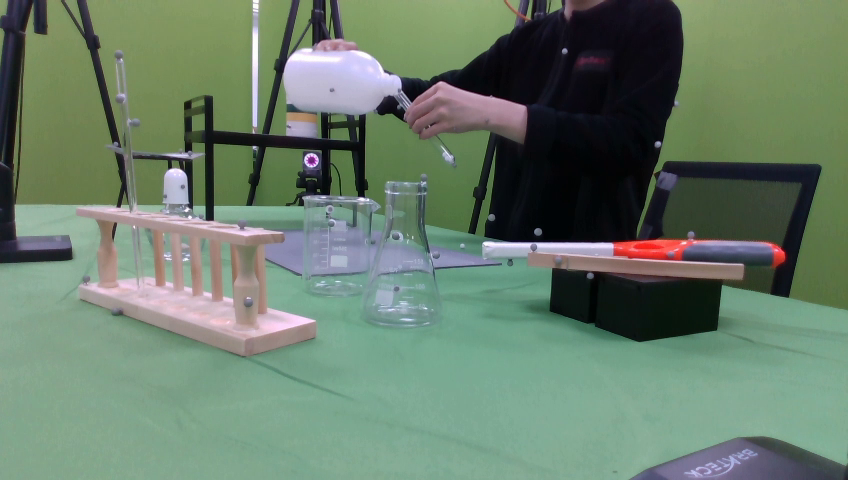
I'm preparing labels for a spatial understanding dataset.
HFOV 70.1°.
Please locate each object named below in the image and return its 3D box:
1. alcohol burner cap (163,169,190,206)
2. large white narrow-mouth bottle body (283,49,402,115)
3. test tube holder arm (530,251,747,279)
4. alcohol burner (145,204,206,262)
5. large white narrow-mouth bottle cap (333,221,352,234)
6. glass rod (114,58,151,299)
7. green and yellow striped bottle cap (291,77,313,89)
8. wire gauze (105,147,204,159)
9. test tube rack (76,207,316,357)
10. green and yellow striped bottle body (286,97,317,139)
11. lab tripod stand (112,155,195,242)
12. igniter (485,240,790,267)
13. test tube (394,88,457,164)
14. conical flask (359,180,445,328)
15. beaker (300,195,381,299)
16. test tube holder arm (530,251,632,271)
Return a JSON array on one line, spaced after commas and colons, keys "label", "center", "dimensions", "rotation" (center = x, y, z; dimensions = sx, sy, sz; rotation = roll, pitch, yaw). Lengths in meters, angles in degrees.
[{"label": "alcohol burner cap", "center": [-0.320, -0.068, 0.782], "dimensions": [0.034, 0.048, 0.034], "rotation": [1, 7, 0]}, {"label": "large white narrow-mouth bottle body", "center": [-0.126, -0.257, 0.990], "dimensions": [0.194, 0.101, 0.102], "rotation": [11, 10, 25]}, {"label": "test tube holder arm", "center": [0.182, 0.022, 0.523], "dimensions": [0.178, 0.015, 0.013], "rotation": [3, 7, 12]}, {"label": "alcohol burner", "center": [-0.322, -0.032, 0.788], "dimensions": [0.078, 0.119, 0.078], "rotation": [0, 7, 0]}, {"label": "large white narrow-mouth bottle cap", "center": [-0.152, -0.024, 1.134], "dimensions": [0.038, 0.024, 0.037], "rotation": [4, 7, 0]}, {"label": "glass rod", "center": [-0.236, -0.044, 0.492], "dimensions": [0.008, 0.199, 0.008], "rotation": [0, 15, 0]}, {"label": "green and yellow striped bottle cap", "center": [-0.250, -0.321, 1.238], "dimensions": [0.045, 0.020, 0.045], "rotation": [3, 6, 0]}, {"label": "wire gauze", "center": [-0.407, -0.131, 0.928], "dimensions": [0.125, 0.011, 0.121], "rotation": [2, 6, -11]}, {"label": "test tube rack", "center": [-0.196, 0.023, 0.500], "dimensions": [0.241, 0.085, 0.067], "rotation": [8, 9, 36]}, {"label": "green and yellow striped bottle body", "center": [-0.251, -0.270, 1.245], "dimensions": [0.063, 0.119, 0.063], "rotation": [2, 7, 0]}, {"label": "lab tripod stand", "center": [-0.405, -0.064, 0.931], "dimensions": [0.148, 0.131, 0.148], "rotation": [1, 7, 0]}, {"label": "igniter", "center": [0.197, 0.012, 0.585], "dimensions": [0.276, 0.025, 0.057], "rotation": [1, 5, 12]}, {"label": "test tube", "center": [0.002, -0.175, 0.930], "dimensions": [0.017, 0.150, 0.017], "rotation": [-35, -13, -9]}, {"label": "conical flask", "center": [-0.017, 0.010, 0.522], "dimensions": [0.075, 0.122, 0.075], "rotation": [2, 7, 0]}, {"label": "beaker", "center": [-0.087, 0.006, 0.626], "dimensions": [0.084, 0.100, 0.074], "rotation": [1, 8, -17]}, {"label": "test tube holder arm", "center": [0.139, 0.019, 0.538], "dimensions": [0.087, 0.015, 0.010], "rotation": [3, 7, 13]}]
